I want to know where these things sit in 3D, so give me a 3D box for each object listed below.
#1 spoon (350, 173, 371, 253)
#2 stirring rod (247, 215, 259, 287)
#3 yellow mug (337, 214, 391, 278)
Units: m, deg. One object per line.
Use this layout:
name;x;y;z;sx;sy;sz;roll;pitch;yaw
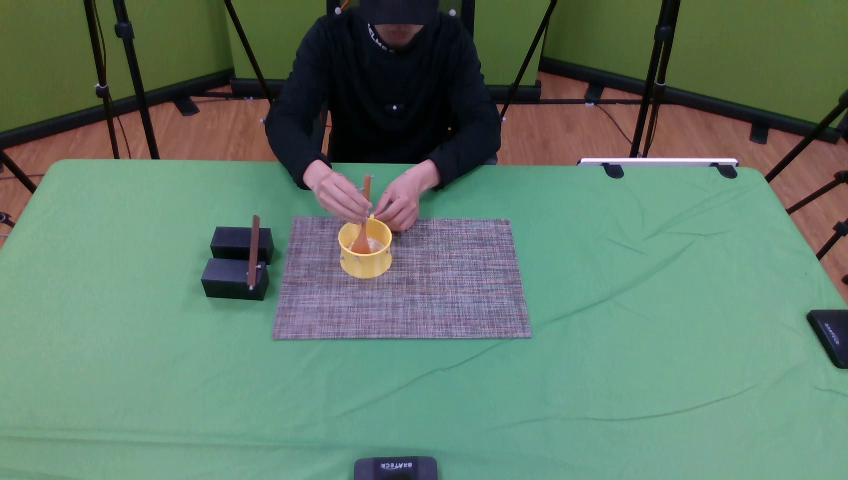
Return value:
spoon;-0.110;-0.035;1.092;0.041;0.194;0.021;13;32;9
stirring rod;-0.309;0.016;1.097;0.014;0.006;0.175;24;36;-31
yellow mug;-0.110;0.003;1.152;0.100;0.064;0.130;7;45;2
